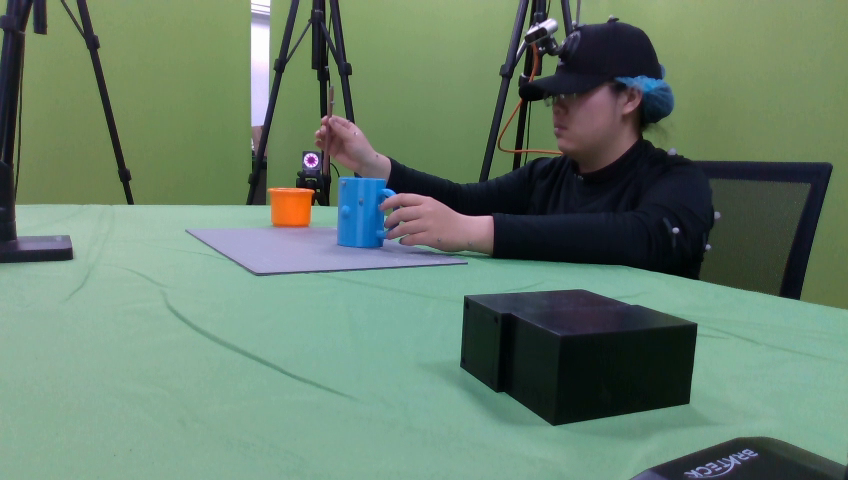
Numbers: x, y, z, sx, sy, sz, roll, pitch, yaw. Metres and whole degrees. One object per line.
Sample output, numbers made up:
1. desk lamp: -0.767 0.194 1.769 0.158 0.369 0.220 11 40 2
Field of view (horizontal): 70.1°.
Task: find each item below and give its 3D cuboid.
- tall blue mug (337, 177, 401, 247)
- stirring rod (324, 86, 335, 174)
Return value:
1. tall blue mug: -0.086 -0.045 0.971 0.107 0.108 0.078 3 7 6
2. stirring rod: -0.181 -0.212 1.159 0.006 0.176 0.014 2 -10 10
